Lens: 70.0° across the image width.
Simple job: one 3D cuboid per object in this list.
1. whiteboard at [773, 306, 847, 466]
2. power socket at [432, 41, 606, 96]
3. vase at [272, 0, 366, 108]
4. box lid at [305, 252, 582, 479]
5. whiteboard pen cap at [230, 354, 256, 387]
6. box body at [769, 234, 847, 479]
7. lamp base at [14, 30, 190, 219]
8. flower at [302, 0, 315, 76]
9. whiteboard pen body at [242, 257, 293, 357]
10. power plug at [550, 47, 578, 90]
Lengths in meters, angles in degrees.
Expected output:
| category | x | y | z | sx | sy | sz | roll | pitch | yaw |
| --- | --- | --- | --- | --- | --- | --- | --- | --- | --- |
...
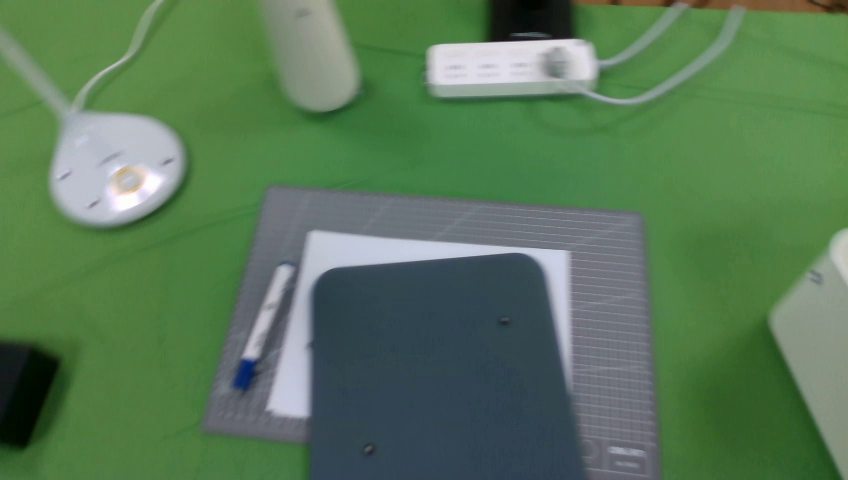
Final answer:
| category | x | y | z | sx | sy | sz | roll | pitch | yaw |
| --- | --- | --- | --- | --- | --- | --- | --- | --- | --- |
| whiteboard | 0.500 | 0.160 | 0.514 | 0.217 | 0.145 | 0.302 | -11 | 61 | -4 |
| power socket | 0.124 | -0.224 | 0.791 | 0.227 | 0.033 | 0.071 | 1 | 64 | 2 |
| vase | -0.129 | -0.250 | 0.723 | 0.098 | 0.201 | 0.097 | -2 | 62 | 3 |
| box lid | 0.015 | 0.182 | 0.598 | 0.263 | 0.015 | 0.368 | -4 | 63 | 0 |
| whiteboard pen cap | -0.186 | 0.134 | 0.626 | 0.018 | 0.018 | 0.033 | 12 | 66 | 10 |
| box body | 0.496 | 0.165 | 0.501 | 0.254 | 0.161 | 0.360 | -11 | 63 | -3 |
| lamp base | -0.384 | -0.139 | 0.687 | 0.178 | 0.182 | 0.160 | 36 | 69 | 22 |
| flower | -0.114 | -0.279 | 0.645 | 0.044 | 0.362 | 0.038 | -34 | 83 | -23 |
| whiteboard pen body | -0.171 | 0.083 | 0.649 | 0.017 | 0.017 | 0.140 | 13 | 66 | 10 |
| power plug | 0.172 | -0.207 | 0.755 | 0.035 | 0.053 | 0.072 | 10 | 70 | 8 |
